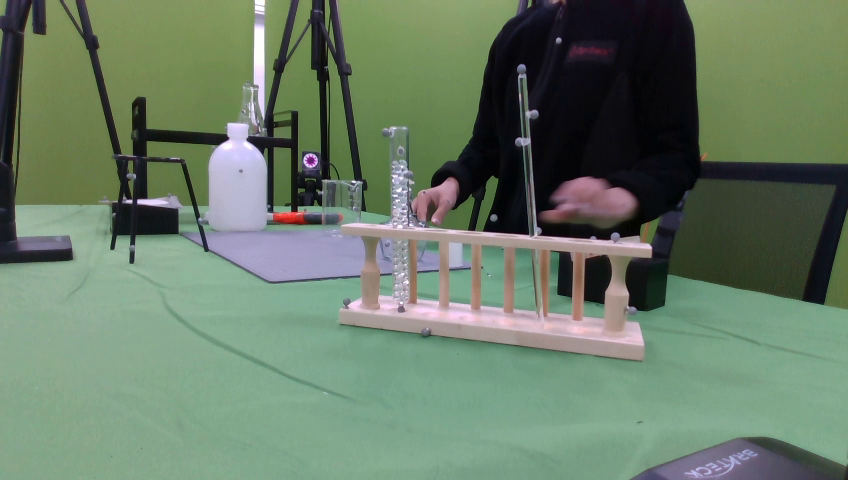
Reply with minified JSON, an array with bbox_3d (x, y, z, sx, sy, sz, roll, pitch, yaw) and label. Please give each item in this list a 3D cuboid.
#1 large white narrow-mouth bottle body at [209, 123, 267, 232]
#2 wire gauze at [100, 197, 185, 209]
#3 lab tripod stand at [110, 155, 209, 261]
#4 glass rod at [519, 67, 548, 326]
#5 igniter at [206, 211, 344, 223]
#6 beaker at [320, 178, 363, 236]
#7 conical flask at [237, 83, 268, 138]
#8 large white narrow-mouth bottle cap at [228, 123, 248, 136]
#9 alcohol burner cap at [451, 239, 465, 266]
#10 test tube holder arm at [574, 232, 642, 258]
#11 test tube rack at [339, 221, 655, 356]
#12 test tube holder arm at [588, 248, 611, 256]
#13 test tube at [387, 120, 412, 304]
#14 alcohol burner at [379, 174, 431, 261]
[{"bbox_3d":[-0.340,-0.115,1.109,0.102,0.194,0.102,2,8,0],"label":"large white narrow-mouth bottle body"},{"bbox_3d":[-0.469,-0.062,1.008,0.126,0.011,0.121,-2,8,-25],"label":"wire gauze"},{"bbox_3d":[-0.361,-0.046,0.806,0.148,0.131,0.148,2,5,0],"label":"lab tripod stand"},{"bbox_3d":[0.084,-0.029,0.459,0.008,0.199,0.008,-7,11,2],"label":"glass rod"},{"bbox_3d":[-0.302,-0.048,1.249,0.278,0.025,0.057,-2,-2,-26],"label":"igniter"},{"bbox_3d":[-0.145,-0.059,1.079,0.074,0.100,0.083,-4,10,-36],"label":"beaker"},{"bbox_3d":[-0.402,-0.299,1.406,0.075,0.122,0.075,2,7,0],"label":"conical flask"},{"bbox_3d":[-0.338,-0.199,1.097,0.038,0.024,0.037,2,8,0],"label":"large white narrow-mouth bottle cap"},{"bbox_3d":[0.041,0.010,0.815,0.034,0.048,0.034,4,7,0],"label":"alcohol burner cap"},{"bbox_3d":[0.202,0.003,0.651,0.013,0.015,0.179,-4,2,36],"label":"test tube holder arm"},{"bbox_3d":[0.056,0.032,0.495,0.242,0.085,0.067,4,7,15],"label":"test tube rack"},{"bbox_3d":[0.180,0.006,0.611,0.010,0.015,0.088,-4,2,36],"label":"test tube holder arm"},{"bbox_3d":[-0.019,-0.021,0.488,0.017,0.150,0.017,-1,13,1],"label":"test tube"},{"bbox_3d":[-0.027,-0.031,0.838,0.078,0.119,0.078,0,6,0],"label":"alcohol burner"}]
